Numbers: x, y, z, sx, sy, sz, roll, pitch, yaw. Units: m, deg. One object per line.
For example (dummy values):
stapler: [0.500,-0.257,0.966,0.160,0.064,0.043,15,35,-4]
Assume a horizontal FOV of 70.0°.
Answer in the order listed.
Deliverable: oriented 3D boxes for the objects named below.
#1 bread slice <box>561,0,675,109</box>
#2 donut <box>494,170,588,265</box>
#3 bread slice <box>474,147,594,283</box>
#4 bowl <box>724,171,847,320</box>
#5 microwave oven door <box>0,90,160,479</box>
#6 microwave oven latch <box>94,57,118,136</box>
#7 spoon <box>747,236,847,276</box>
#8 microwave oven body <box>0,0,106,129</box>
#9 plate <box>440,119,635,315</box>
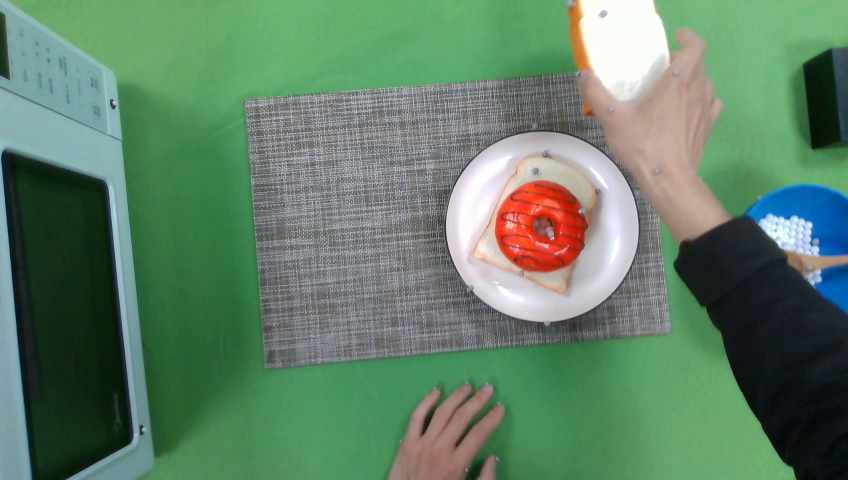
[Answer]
bread slice: [0.183,-0.191,0.581,0.105,0.019,0.131,-9,84,-19]
donut: [0.121,-0.023,0.630,0.099,0.048,0.099,0,88,1]
bread slice: [0.123,-0.033,0.662,0.107,0.018,0.134,18,94,1]
bowl: [0.381,0.007,0.641,0.151,0.077,0.151,0,87,-1]
microwave oven door: [-0.323,0.061,0.538,0.039,0.244,0.355,-8,88,0]
microwave oven latch: [-0.349,-0.151,0.646,0.030,0.029,0.079,-7,89,-1]
spoon: [0.431,0.006,0.610,0.193,0.022,0.041,-9,81,21]
microwave oven body: [-0.474,0.038,0.543,0.326,0.260,0.441,-7,89,-1]
plate: [0.120,-0.024,0.658,0.208,0.039,0.207,0,88,0]
